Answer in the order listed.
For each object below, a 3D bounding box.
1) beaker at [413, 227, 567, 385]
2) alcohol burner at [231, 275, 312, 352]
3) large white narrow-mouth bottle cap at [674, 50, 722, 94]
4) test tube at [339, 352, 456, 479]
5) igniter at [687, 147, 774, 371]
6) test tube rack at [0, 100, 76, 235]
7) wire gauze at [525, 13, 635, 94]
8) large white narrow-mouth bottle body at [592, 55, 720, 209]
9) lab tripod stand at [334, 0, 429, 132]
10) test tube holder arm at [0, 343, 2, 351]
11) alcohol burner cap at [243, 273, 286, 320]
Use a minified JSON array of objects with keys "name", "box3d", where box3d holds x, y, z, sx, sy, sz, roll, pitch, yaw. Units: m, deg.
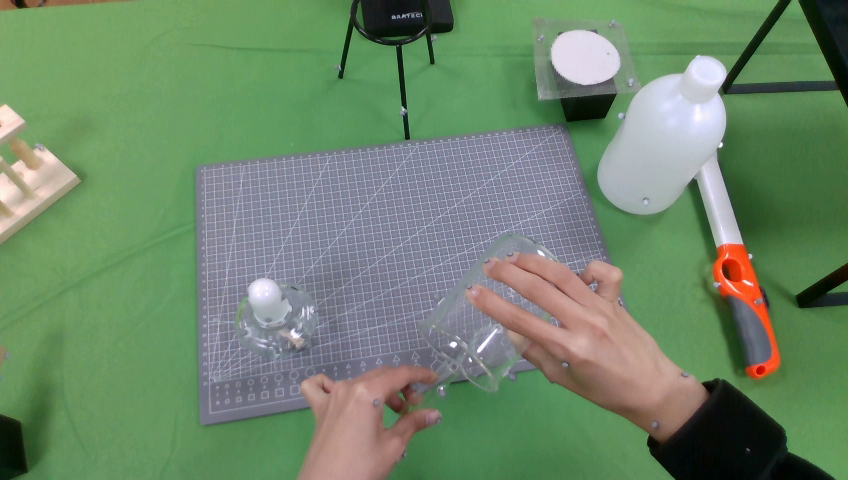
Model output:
[{"name":"beaker","box3d":[0.052,0.047,0.453,0.073,0.084,0.100,38,72,14]},{"name":"alcohol burner","box3d":[-0.147,0.064,0.578,0.078,0.120,0.077,2,63,-4]},{"name":"large white narrow-mouth bottle cap","box3d":[0.255,-0.157,0.566,0.038,0.024,0.037,1,64,-2]},{"name":"test tube","box3d":[-0.025,0.147,0.497,0.017,0.017,0.150,46,110,17]},{"name":"igniter","box3d":[0.338,0.010,0.681,0.057,0.025,0.274,2,64,-13]},{"name":"test tube rack","box3d":[-0.497,-0.027,0.619,0.066,0.086,0.242,38,69,14]},{"name":"wire gauze","box3d":[0.188,-0.231,0.741,0.121,0.011,0.124,-1,65,-3]},{"name":"large white narrow-mouth bottle body","box3d":[0.252,-0.118,0.643,0.102,0.196,0.101,1,64,-2]},{"name":"lab tripod stand","box3d":[-0.040,-0.223,0.710,0.148,0.132,0.147,2,65,-4]},{"name":"test tube holder arm","box3d":[-0.403,0.172,0.517,0.013,0.015,0.177,1,64,7]},{"name":"alcohol burner cap","box3d":[-0.146,0.049,0.545,0.034,0.048,0.033,0,59,0]}]
